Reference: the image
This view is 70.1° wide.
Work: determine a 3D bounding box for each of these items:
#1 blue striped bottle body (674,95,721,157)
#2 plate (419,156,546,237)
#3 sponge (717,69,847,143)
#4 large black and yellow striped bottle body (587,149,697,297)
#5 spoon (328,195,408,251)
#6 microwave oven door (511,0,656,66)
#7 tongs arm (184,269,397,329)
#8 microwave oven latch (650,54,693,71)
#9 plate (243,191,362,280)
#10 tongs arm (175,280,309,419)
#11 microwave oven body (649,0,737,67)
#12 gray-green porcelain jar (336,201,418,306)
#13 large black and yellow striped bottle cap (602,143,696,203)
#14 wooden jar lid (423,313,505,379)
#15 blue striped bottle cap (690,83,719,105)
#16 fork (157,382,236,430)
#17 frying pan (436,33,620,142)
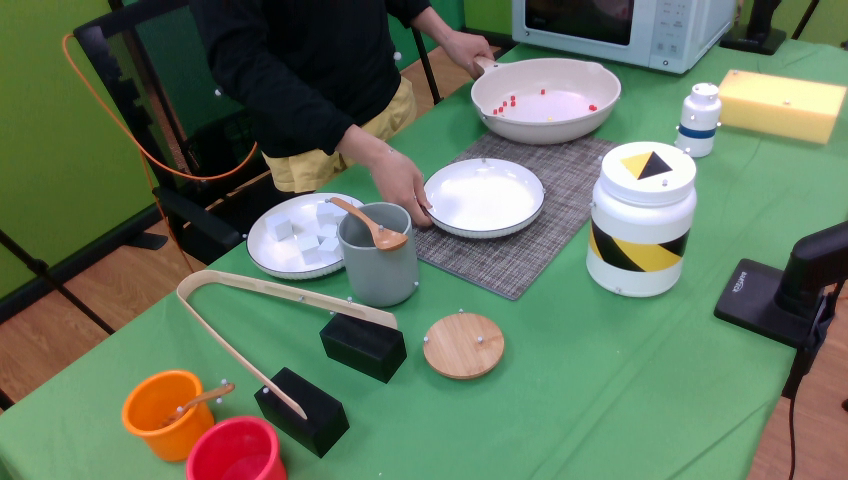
[{"bbox_3d":[0.486,-0.213,1.072,0.063,0.121,0.063,-4,41,4],"label":"blue striped bottle body"},{"bbox_3d":[0.098,-0.070,1.016,0.209,0.038,0.208,-2,41,2],"label":"plate"},{"bbox_3d":[0.663,-0.256,1.142,0.205,0.061,0.118,19,47,28],"label":"sponge"},{"bbox_3d":[0.298,-0.026,0.835,0.131,0.185,0.130,-4,41,4],"label":"large black and yellow striped bottle body"},{"bbox_3d":[-0.083,-0.029,0.829,0.042,0.022,0.192,-30,42,-22],"label":"spoon"},{"bbox_3d":[0.351,-0.539,1.349,0.353,0.245,0.039,24,50,31],"label":"microwave oven door"},{"bbox_3d":[-0.203,0.085,0.847,0.382,0.027,0.051,11,45,35],"label":"tongs arm"},{"bbox_3d":[0.531,-0.386,1.301,0.078,0.029,0.030,26,51,33],"label":"microwave oven latch"},{"bbox_3d":[-0.187,-0.005,0.992,0.207,0.039,0.206,-4,40,4],"label":"plate"},{"bbox_3d":[-0.254,0.133,0.801,0.028,0.028,0.384,-41,41,-23],"label":"tongs arm"},{"bbox_3d":[0.475,-0.602,1.411,0.438,0.261,0.327,23,50,32],"label":"microwave oven body"},{"bbox_3d":[-0.064,0.024,0.872,0.106,0.127,0.105,-4,41,4],"label":"gray-green porcelain jar"},{"bbox_3d":[0.289,-0.088,0.779,0.115,0.019,0.114,-5,39,4],"label":"large black and yellow striped bottle cap"},{"bbox_3d":[0.053,0.142,0.800,0.108,0.021,0.108,-4,39,4],"label":"wooden jar lid"},{"bbox_3d":[0.481,-0.251,1.038,0.044,0.021,0.044,-5,40,5],"label":"blue striped bottle cap"},{"bbox_3d":[-0.262,0.189,0.690,0.018,0.206,0.028,49,43,-7],"label":"fork"},{"bbox_3d":[0.181,-0.343,1.279,0.308,0.103,0.483,-26,51,-24],"label":"frying pan"}]
